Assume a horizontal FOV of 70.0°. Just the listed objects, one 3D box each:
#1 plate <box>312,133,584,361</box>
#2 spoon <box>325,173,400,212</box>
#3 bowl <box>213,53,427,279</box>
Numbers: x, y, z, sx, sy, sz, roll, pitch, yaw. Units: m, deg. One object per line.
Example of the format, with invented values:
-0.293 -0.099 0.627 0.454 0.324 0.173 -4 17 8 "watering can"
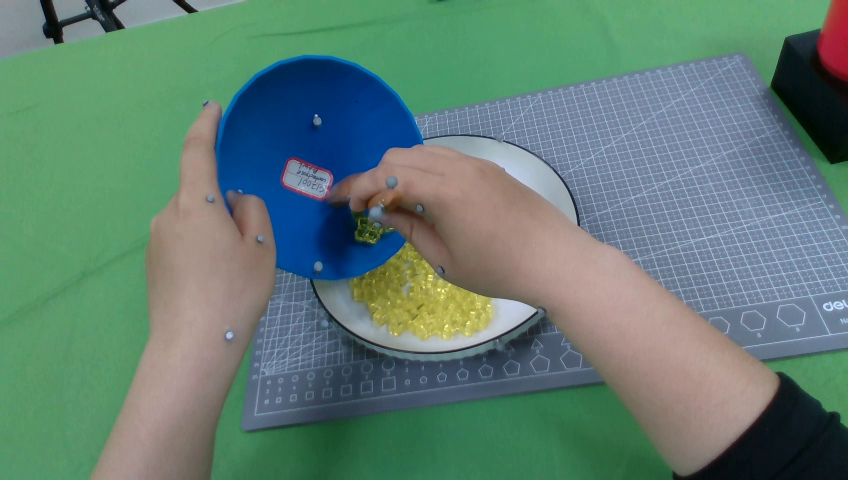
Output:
0.017 0.002 0.469 0.207 0.039 0.205 -6 53 9 "plate"
-0.035 -0.027 0.369 0.041 0.022 0.192 -30 14 -9 "spoon"
-0.081 -0.048 0.435 0.151 0.152 0.076 -48 23 -22 "bowl"
